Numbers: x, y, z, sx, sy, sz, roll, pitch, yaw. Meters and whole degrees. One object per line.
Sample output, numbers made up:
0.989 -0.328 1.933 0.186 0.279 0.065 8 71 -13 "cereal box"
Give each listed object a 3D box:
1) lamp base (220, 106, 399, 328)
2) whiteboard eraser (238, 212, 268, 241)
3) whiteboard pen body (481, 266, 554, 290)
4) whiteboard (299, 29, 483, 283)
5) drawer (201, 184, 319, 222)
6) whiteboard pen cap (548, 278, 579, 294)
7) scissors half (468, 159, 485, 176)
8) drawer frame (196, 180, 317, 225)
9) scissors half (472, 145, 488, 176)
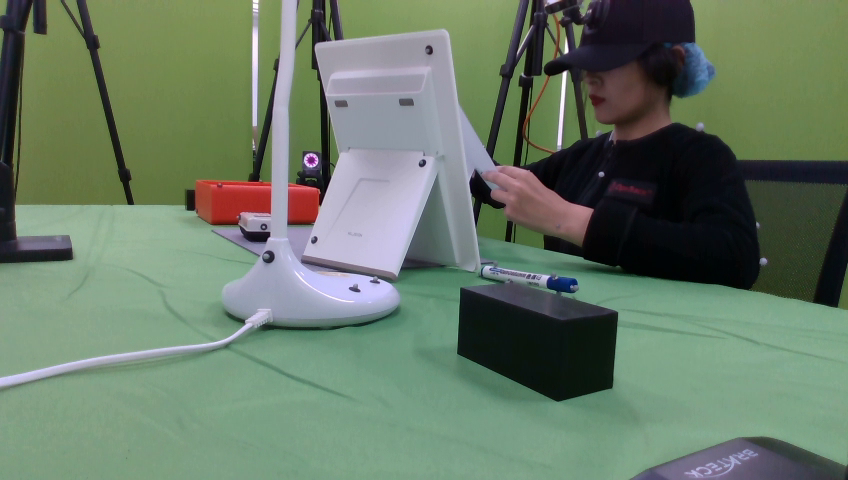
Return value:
-0.102 -0.023 0.531 0.160 0.180 0.179 4 10 10 "lamp base"
-0.272 -0.023 0.998 0.056 0.042 0.112 -2 9 -24 "whiteboard eraser"
0.115 0.045 0.695 0.017 0.017 0.140 -3 6 -35 "whiteboard pen body"
-0.074 -0.082 0.742 0.216 0.305 0.144 9 29 38 "whiteboard"
-0.353 -0.082 1.295 0.213 0.073 0.193 -2 10 -28 "drawer"
0.148 0.049 0.647 0.018 0.018 0.033 -3 3 -35 "whiteboard pen cap"
0.086 -0.126 1.128 0.013 0.040 0.175 32 -15 -6 "scissors half"
-0.359 -0.083 1.292 0.215 0.082 0.200 -2 10 -30 "drawer frame"
0.100 -0.146 1.125 0.013 0.040 0.175 36 26 -6 "scissors half"
